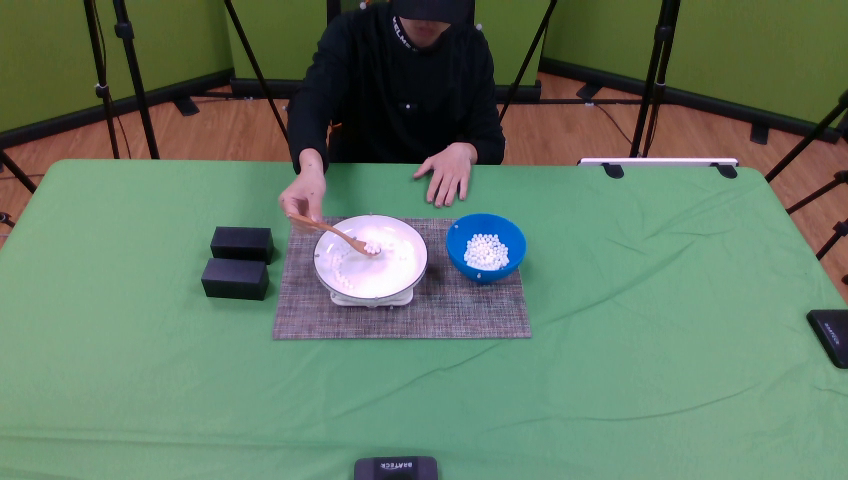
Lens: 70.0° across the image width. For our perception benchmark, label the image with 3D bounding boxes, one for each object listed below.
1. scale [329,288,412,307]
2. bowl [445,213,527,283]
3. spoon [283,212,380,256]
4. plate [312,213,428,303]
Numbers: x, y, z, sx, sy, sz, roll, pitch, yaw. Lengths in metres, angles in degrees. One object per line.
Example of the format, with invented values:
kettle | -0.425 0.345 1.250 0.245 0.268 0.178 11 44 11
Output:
scale | -0.098 0.042 1.139 0.149 0.032 0.199 1 46 -4
bowl | 0.111 0.028 1.137 0.151 0.077 0.150 2 46 -2
spoon | -0.158 -0.013 1.056 0.195 0.021 0.041 28 23 -34
plate | -0.097 0.036 1.100 0.209 0.038 0.208 2 46 -2
